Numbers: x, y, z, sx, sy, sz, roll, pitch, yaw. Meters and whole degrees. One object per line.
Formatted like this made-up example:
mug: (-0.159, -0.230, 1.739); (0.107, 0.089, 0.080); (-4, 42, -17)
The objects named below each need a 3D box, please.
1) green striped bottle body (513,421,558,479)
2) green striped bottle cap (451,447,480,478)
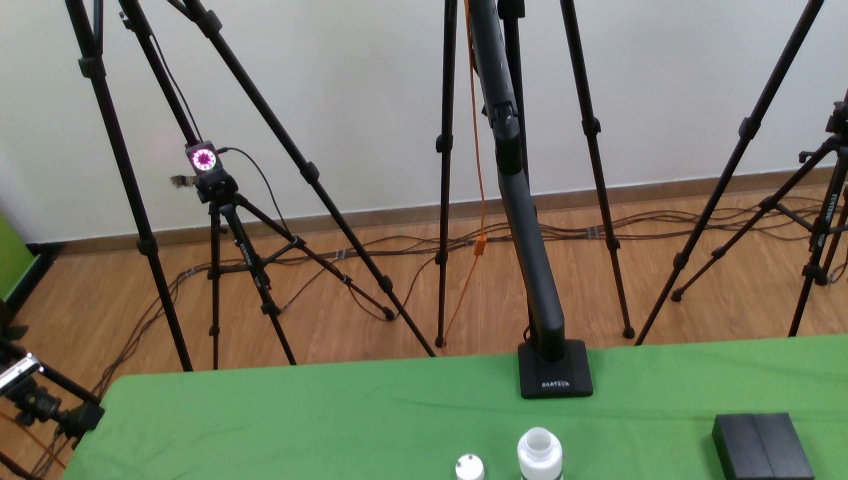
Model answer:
green striped bottle body: (0.163, 0.314, 0.886); (0.063, 0.120, 0.062); (-7, 42, 6)
green striped bottle cap: (0.065, 0.349, 0.950); (0.044, 0.020, 0.044); (-6, 45, 6)
